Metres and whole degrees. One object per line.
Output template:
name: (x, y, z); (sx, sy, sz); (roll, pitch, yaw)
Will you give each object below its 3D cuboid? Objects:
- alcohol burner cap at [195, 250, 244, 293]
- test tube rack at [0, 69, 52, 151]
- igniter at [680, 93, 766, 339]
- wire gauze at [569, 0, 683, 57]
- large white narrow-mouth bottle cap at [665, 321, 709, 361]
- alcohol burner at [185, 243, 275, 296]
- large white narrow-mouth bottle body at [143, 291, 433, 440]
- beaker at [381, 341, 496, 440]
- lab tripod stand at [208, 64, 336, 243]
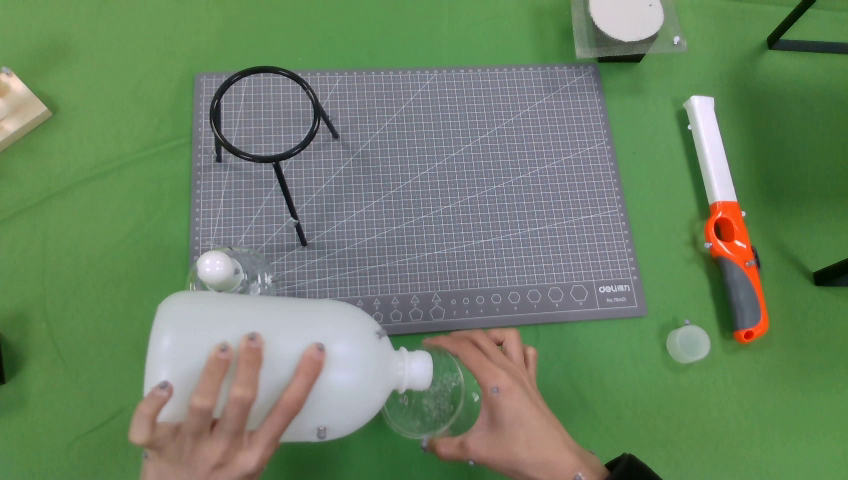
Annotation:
alcohol burner cap: (-0.169, 0.025, 0.497); (0.034, 0.048, 0.033); (1, 77, -5)
test tube rack: (-0.488, -0.085, 0.557); (0.066, 0.085, 0.242); (44, 73, 9)
igniter: (0.318, -0.032, 0.647); (0.057, 0.025, 0.274); (0, 72, -16)
wire gauze: (0.218, -0.258, 0.671); (0.121, 0.011, 0.124); (-2, 73, -6)
large white narrow-mouth bottle cap: (0.262, 0.101, 0.604); (0.038, 0.024, 0.037); (1, 71, -4)
alcohol burner: (-0.173, 0.035, 0.531); (0.078, 0.119, 0.077); (2, 70, -6)
large white narrow-mouth bottle body: (-0.090, 0.092, 0.439); (0.195, 0.102, 0.101); (5, 71, -15)
beaker: (0.014, 0.133, 0.521); (0.083, 0.101, 0.073); (2, 71, 25)
lab tripod stand: (-0.136, -0.084, 0.563); (0.148, 0.132, 0.147); (2, 72, -7)
